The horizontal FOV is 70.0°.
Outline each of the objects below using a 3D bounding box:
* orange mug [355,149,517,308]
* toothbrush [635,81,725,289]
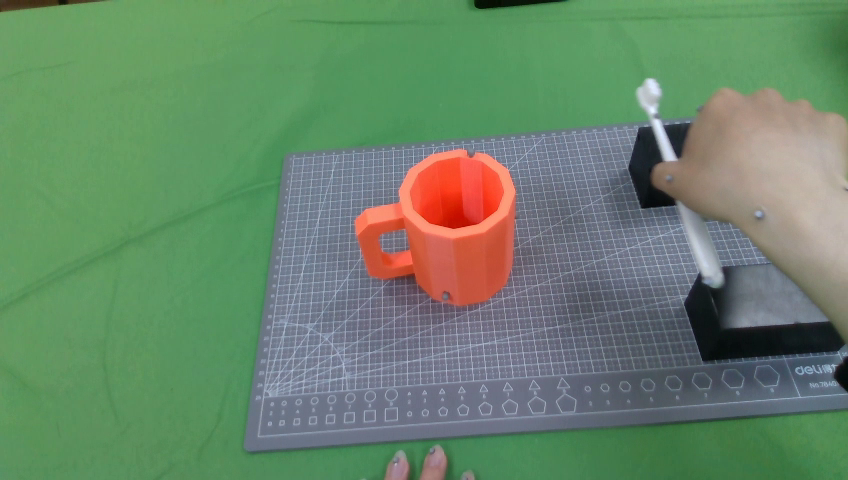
[{"bbox_3d":[0.012,-0.005,0.479,0.126,0.102,0.082,-9,54,-5],"label":"orange mug"},{"bbox_3d":[0.183,-0.047,0.437,0.014,0.017,0.180,3,58,-14],"label":"toothbrush"}]
